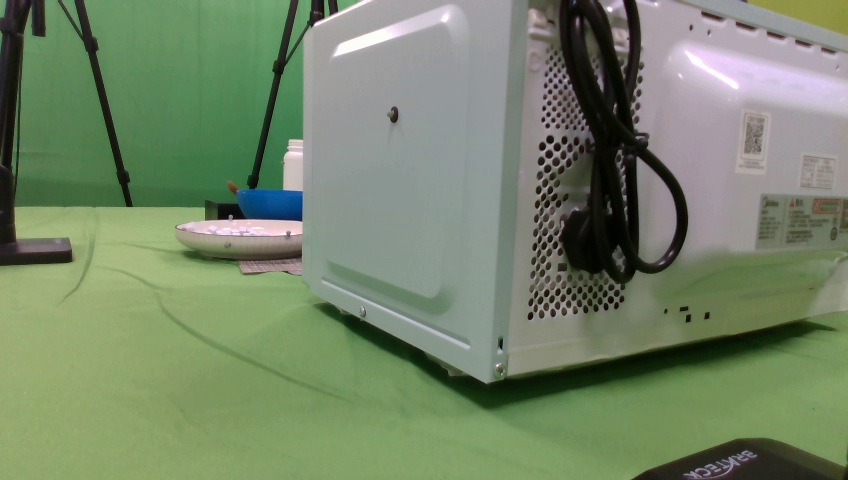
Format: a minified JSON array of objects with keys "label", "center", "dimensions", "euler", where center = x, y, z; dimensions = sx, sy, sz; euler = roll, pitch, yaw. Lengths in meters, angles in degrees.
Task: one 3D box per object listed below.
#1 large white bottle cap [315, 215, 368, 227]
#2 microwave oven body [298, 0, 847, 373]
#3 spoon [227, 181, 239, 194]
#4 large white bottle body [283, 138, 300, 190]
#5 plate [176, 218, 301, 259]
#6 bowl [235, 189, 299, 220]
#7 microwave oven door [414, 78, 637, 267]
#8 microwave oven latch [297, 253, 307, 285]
[{"label":"large white bottle cap","center":[-0.178,-0.041,1.309],"dimensions":[0.115,0.018,0.115],"euler":[2,6,0]},{"label":"microwave oven body","center":[0.151,-0.055,0.543],"dimensions":[0.444,0.260,0.324],"euler":[-1,7,-33]},{"label":"spoon","center":[-0.315,-0.074,1.235],"dimensions":[0.195,0.021,0.041],"euler":[24,-9,-37]},{"label":"large white bottle body","center":[-0.265,-0.144,1.423],"dimensions":[0.131,0.184,0.130],"euler":[2,7,0]},{"label":"plate","center":[-0.248,-0.003,0.877],"dimensions":[0.209,0.038,0.209],"euler":[1,8,0]},{"label":"bowl","center":[-0.253,-0.047,1.064],"dimensions":[0.151,0.077,0.151],"euler":[3,8,0]},{"label":"microwave oven door","center":[0.128,-0.104,0.889],"dimensions":[0.354,0.243,0.039],"euler":[9,10,41]},{"label":"microwave oven latch","center":[-0.082,0.027,0.582],"dimensions":[0.079,0.029,0.030],"euler":[-1,7,-32]}]
